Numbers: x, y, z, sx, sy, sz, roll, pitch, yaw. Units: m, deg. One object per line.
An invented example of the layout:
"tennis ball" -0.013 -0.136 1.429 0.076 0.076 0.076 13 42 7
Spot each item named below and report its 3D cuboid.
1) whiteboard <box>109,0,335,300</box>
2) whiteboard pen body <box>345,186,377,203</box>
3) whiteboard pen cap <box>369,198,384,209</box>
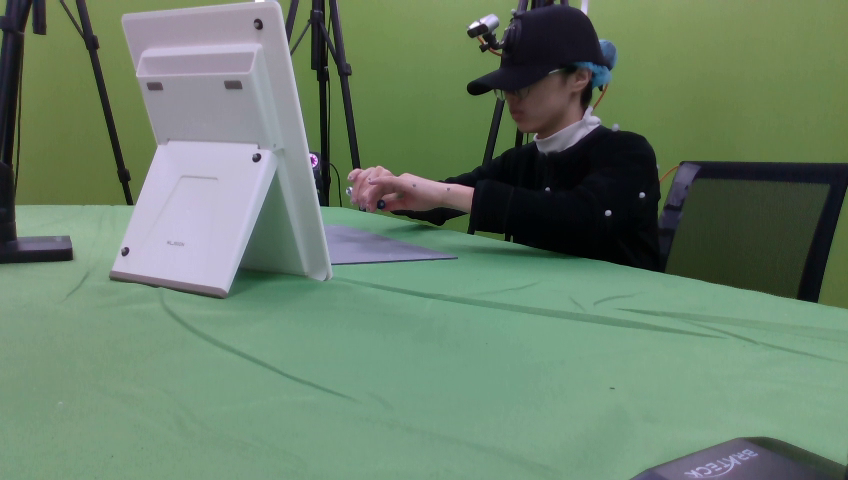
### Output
"whiteboard" -0.247 -0.072 0.624 0.216 0.305 0.144 6 28 26
"whiteboard pen body" -0.109 -0.078 1.084 0.017 0.017 0.140 -2 16 -30
"whiteboard pen cap" -0.082 -0.064 1.035 0.018 0.018 0.033 -2 14 -30
